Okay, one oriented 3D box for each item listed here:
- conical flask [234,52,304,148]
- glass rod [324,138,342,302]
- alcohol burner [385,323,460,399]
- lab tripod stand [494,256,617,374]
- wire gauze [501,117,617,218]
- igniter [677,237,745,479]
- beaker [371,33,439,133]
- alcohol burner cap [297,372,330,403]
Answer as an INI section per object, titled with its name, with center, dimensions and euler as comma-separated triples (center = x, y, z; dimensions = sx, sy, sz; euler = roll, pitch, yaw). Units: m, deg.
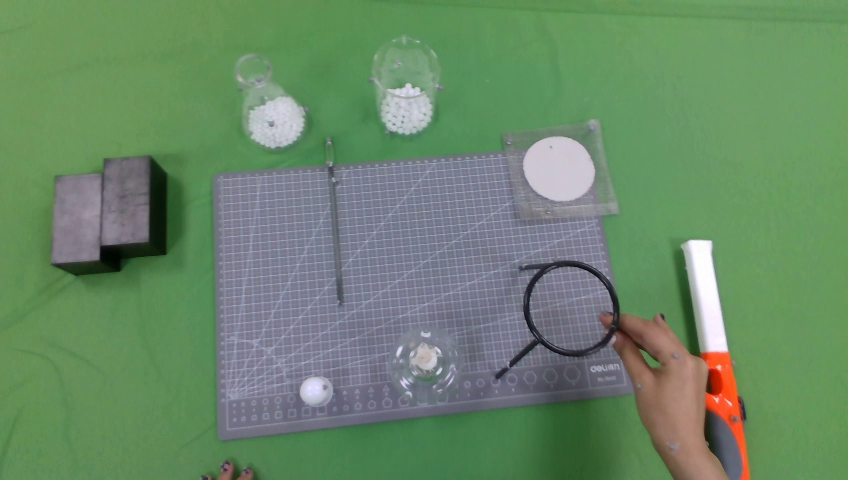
[conical flask]
center = -0.179, -0.160, 0.675
dimensions = 0.075, 0.122, 0.075
euler = 1, 74, -3
[glass rod]
center = -0.105, -0.027, 0.698
dimensions = 0.008, 0.008, 0.198
euler = -6, 75, -5
[alcohol burner]
center = -0.001, 0.120, 0.610
dimensions = 0.078, 0.119, 0.077
euler = 1, 76, -2
[lab tripod stand]
center = 0.130, 0.079, 0.618
dimensions = 0.148, 0.132, 0.147
euler = 1, 76, -3
[wire gauze]
center = 0.162, -0.088, 0.731
dimensions = 0.125, 0.011, 0.121
euler = -6, 75, -5
[igniter]
center = 0.317, 0.131, 0.673
dimensions = 0.057, 0.025, 0.275
euler = 2, 74, -14
[beaker]
center = -0.023, -0.177, 0.701
dimensions = 0.074, 0.101, 0.083
euler = -3, 74, -4
[alcohol burner cap]
center = -0.116, 0.153, 0.632
dimensions = 0.034, 0.048, 0.033
euler = 1, 75, -3
